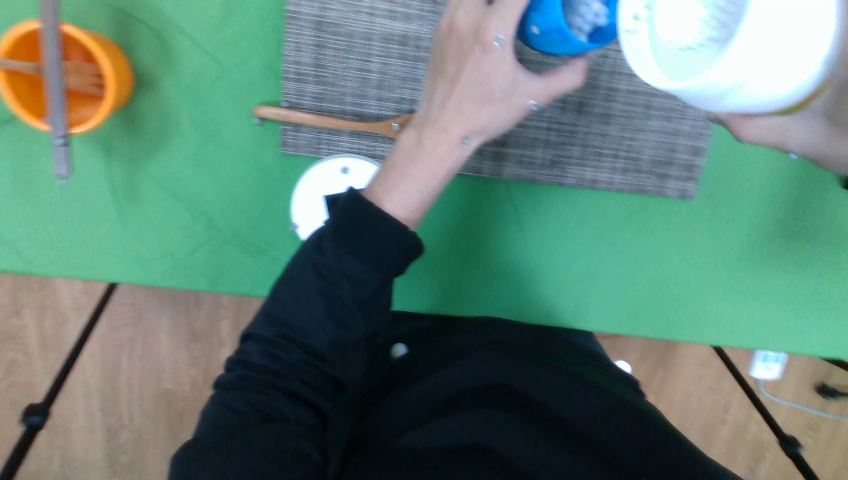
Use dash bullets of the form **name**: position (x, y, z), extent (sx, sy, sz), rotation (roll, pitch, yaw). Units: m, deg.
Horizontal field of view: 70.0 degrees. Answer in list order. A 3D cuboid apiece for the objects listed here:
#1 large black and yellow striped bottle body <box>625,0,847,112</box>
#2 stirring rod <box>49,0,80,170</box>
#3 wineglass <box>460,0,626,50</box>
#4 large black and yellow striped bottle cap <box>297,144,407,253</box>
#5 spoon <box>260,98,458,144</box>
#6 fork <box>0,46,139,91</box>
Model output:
- **large black and yellow striped bottle body**: position (0.238, -0.153, 0.397), extent (0.185, 0.129, 0.131), rotation (-4, 112, -26)
- **stirring rod**: position (-0.293, -0.144, 0.492), extent (0.014, 0.006, 0.177), rotation (5, 109, -8)
- **wineglass**: position (0.090, -0.188, 0.479), extent (0.074, 0.171, 0.074), rotation (-5, 106, -18)
- **large black and yellow striped bottle cap**: position (-0.074, -0.041, 0.628), extent (0.115, 0.018, 0.116), rotation (-3, 114, -6)
- **spoon**: position (-0.063, -0.122, 0.593), extent (0.194, 0.021, 0.042), rotation (5, 129, -8)
- **fork**: position (-0.335, -0.151, 0.486), extent (0.208, 0.018, 0.028), rotation (0, 124, -53)
